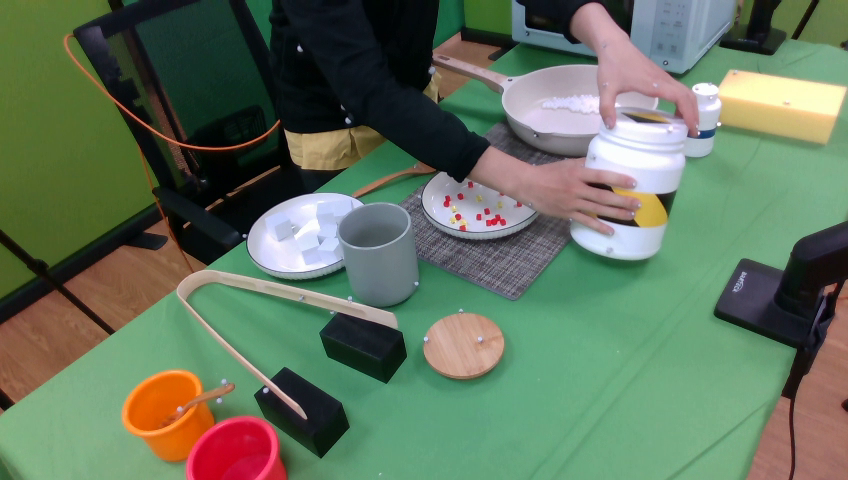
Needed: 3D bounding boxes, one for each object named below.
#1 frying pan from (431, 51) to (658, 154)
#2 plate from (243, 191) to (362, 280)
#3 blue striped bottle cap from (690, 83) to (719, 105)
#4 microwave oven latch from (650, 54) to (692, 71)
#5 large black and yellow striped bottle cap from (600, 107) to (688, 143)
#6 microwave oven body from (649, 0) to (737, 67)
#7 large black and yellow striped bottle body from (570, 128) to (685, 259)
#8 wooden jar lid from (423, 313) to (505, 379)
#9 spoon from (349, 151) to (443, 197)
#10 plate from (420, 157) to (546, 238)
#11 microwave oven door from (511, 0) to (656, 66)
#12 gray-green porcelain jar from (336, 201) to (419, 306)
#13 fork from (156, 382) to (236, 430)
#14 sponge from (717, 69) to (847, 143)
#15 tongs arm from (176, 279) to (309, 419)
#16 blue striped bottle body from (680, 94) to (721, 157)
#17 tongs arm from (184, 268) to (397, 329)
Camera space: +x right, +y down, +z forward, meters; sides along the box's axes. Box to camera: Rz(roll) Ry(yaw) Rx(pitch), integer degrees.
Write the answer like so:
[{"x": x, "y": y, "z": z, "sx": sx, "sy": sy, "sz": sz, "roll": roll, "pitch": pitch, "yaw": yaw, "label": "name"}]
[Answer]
[{"x": 0.216, "y": -0.303, "z": 1.223, "sx": 0.484, "sy": 0.103, "sz": 0.308, "roll": 29, "pitch": 50, "yaw": 24, "label": "frying pan"}, {"x": -0.187, "y": -0.005, "z": 0.992, "sx": 0.207, "sy": 0.039, "sz": 0.206, "roll": -3, "pitch": 40, "yaw": 3, "label": "plate"}, {"x": 0.482, "y": -0.251, "z": 1.038, "sx": 0.044, "sy": 0.021, "sz": 0.044, "roll": -5, "pitch": 40, "yaw": 5, "label": "blue striped bottle cap"}, {"x": 0.530, "y": -0.386, "z": 1.301, "sx": 0.078, "sy": 0.029, "sz": 0.030, "roll": 24, "pitch": 50, "yaw": 32, "label": "microwave oven latch"}, {"x": 0.299, "y": -0.158, "z": 0.824, "sx": 0.115, "sy": 0.019, "sz": 0.114, "roll": 5, "pitch": 27, "yaw": -2, "label": "large black and yellow striped bottle cap"}, {"x": 0.475, "y": -0.602, "z": 1.411, "sx": 0.438, "sy": 0.261, "sz": 0.327, "roll": 23, "pitch": 50, "yaw": 32, "label": "microwave oven body"}, {"x": 0.292, "y": -0.080, "z": 0.864, "sx": 0.131, "sy": 0.184, "sz": 0.130, "roll": 5, "pitch": 27, "yaw": -2, "label": "large black and yellow striped bottle body"}, {"x": 0.053, "y": 0.142, "z": 0.800, "sx": 0.108, "sy": 0.021, "sz": 0.108, "roll": -5, "pitch": 39, "yaw": 4, "label": "wooden jar lid"}, {"x": -0.051, "y": -0.122, "z": 1.120, "sx": 0.194, "sy": 0.022, "sz": 0.041, "roll": -22, "pitch": 60, "yaw": -18, "label": "spoon"}, {"x": 0.100, "y": -0.068, "z": 1.017, "sx": 0.209, "sy": 0.038, "sz": 0.208, "roll": -4, "pitch": 40, "yaw": 4, "label": "plate"}, {"x": 0.350, "y": -0.539, "z": 1.349, "sx": 0.353, "sy": 0.245, "sz": 0.039, "roll": 24, "pitch": 50, "yaw": 31, "label": "microwave oven door"}, {"x": -0.064, "y": 0.024, "z": 0.872, "sx": 0.106, "sy": 0.127, "sz": 0.105, "roll": -4, "pitch": 41, "yaw": 4, "label": "gray-green porcelain jar"}, {"x": -0.262, "y": 0.189, "z": 0.690, "sx": 0.018, "sy": 0.206, "sz": 0.028, "roll": 49, "pitch": 43, "yaw": -7, "label": "fork"}, {"x": 0.663, "y": -0.256, "z": 1.142, "sx": 0.205, "sy": 0.061, "sz": 0.118, "roll": 18, "pitch": 47, "yaw": 28, "label": "sponge"}, {"x": -0.254, "y": 0.133, "z": 0.801, "sx": 0.028, "sy": 0.028, "sz": 0.384, "roll": -41, "pitch": 40, "yaw": -23, "label": "tongs arm"}, {"x": 0.486, "y": -0.213, "z": 1.072, "sx": 0.063, "sy": 0.121, "sz": 0.063, "roll": -4, "pitch": 41, "yaw": 4, "label": "blue striped bottle body"}, {"x": -0.202, "y": 0.084, "z": 0.848, "sx": 0.382, "sy": 0.027, "sz": 0.051, "roll": 11, "pitch": 45, "yaw": 35, "label": "tongs arm"}]
